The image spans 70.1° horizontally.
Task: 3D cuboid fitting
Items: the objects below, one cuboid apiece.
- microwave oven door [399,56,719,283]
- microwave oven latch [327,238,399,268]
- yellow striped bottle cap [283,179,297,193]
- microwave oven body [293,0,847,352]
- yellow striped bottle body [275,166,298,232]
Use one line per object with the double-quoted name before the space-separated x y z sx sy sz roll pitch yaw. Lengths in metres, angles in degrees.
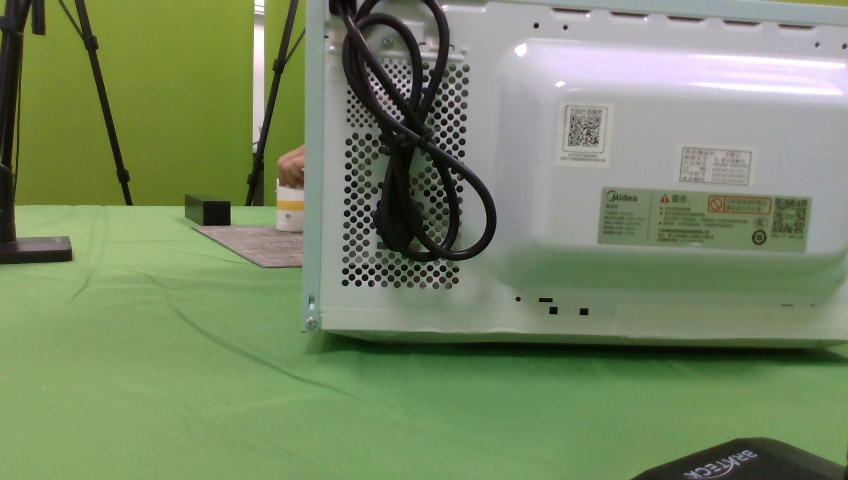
"microwave oven door" 0.154 -0.078 0.698 0.356 0.243 0.039 2 8 -5
"microwave oven latch" -0.069 0.015 0.694 0.079 0.029 0.030 3 7 -3
"yellow striped bottle cap" -0.218 -0.092 1.033 0.044 0.018 0.044 8 11 -1
"microwave oven body" 0.122 -0.055 0.550 0.442 0.260 0.325 3 7 -5
"yellow striped bottle body" -0.244 -0.077 1.127 0.063 0.120 0.063 3 8 0
